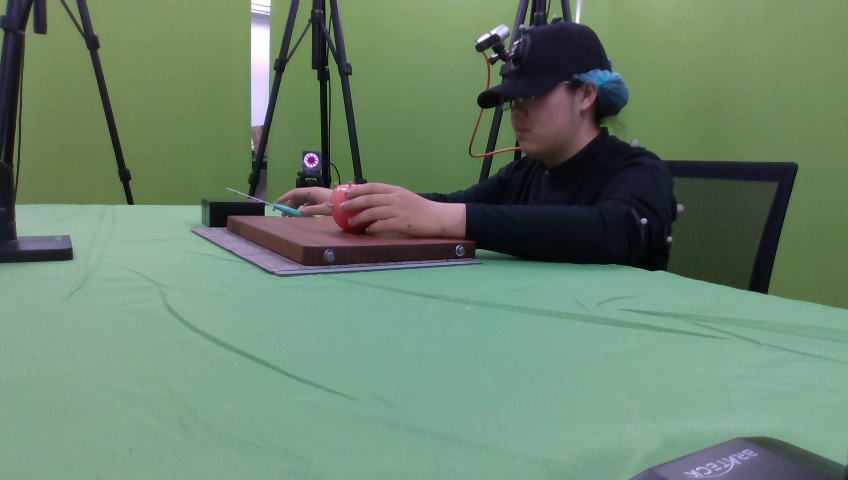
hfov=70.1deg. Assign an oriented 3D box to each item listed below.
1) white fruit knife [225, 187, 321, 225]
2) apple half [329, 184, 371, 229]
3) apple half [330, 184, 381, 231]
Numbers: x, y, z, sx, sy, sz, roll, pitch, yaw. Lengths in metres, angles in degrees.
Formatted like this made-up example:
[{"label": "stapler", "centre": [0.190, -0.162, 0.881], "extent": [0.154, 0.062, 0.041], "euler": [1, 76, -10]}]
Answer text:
[{"label": "white fruit knife", "centre": [-0.298, -0.068, 1.213], "extent": [0.208, 0.016, 0.027], "euler": [20, -3, -31]}, {"label": "apple half", "centre": [-0.124, -0.055, 0.970], "extent": [0.082, 0.081, 0.032], "euler": [-4, 14, -40]}, {"label": "apple half", "centre": [-0.100, -0.049, 0.941], "extent": [0.081, 0.074, 0.053], "euler": [1, 11, -40]}]
